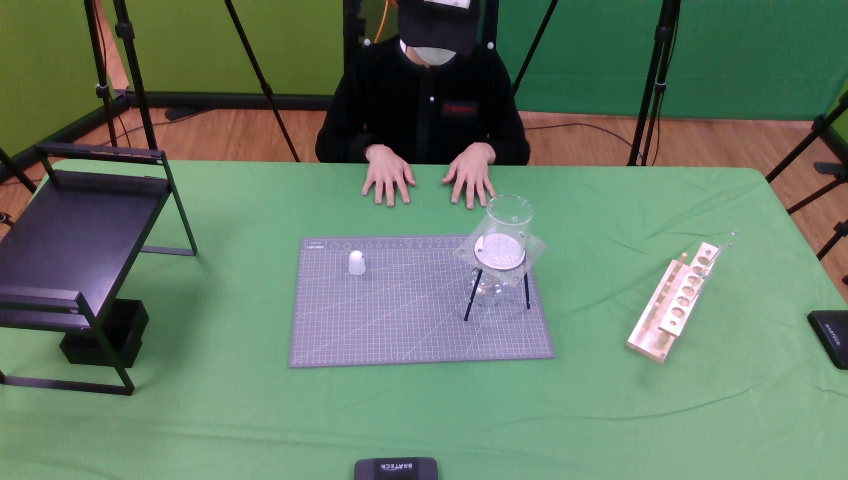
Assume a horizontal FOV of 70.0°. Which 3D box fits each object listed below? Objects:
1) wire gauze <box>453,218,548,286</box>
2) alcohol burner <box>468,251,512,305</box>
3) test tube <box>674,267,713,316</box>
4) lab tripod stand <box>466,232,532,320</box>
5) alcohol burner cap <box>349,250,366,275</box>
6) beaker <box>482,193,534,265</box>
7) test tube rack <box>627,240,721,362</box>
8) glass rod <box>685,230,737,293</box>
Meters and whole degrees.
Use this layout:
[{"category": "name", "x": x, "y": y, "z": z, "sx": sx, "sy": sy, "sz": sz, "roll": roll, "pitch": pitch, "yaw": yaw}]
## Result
[{"category": "wire gauze", "x": 0.129, "y": 0.014, "z": 1.019, "sx": 0.124, "sy": 0.011, "sz": 0.121, "roll": 26, "pitch": 47, "yaw": 25}, {"category": "alcohol burner", "x": 0.119, "y": 0.061, "z": 1.077, "sx": 0.078, "sy": 0.120, "sz": 0.077, "roll": 1, "pitch": 47, "yaw": -1}, {"category": "test tube", "x": 0.445, "y": 0.098, "z": 1.017, "sx": 0.017, "sy": 0.151, "sz": 0.017, "roll": 4, "pitch": 49, "yaw": -4}, {"category": "lab tripod stand", "x": 0.125, "y": 0.059, "z": 1.065, "sx": 0.148, "sy": 0.132, "sz": 0.147, "roll": 1, "pitch": 45, "yaw": 0}, {"category": "alcohol burner cap", "x": -0.125, "y": 0.039, "z": 1.132, "sx": 0.034, "sy": 0.048, "sz": 0.033, "roll": 2, "pitch": 46, "yaw": -2}, {"category": "beaker", "x": 0.135, "y": -0.016, "z": 0.979, "sx": 0.073, "sy": 0.101, "sz": 0.084, "roll": 35, "pitch": 52, "yaw": 28}, {"category": "test tube rack", "x": 0.452, "y": 0.098, "z": 1.087, "sx": 0.066, "sy": 0.085, "sz": 0.242, "roll": 28, "pitch": 51, "yaw": 22}, {"category": "glass rod", "x": 0.495, "y": 0.042, "z": 1.051, "sx": 0.008, "sy": 0.200, "sz": 0.008, "roll": 2, "pitch": 55, "yaw": -2}]
